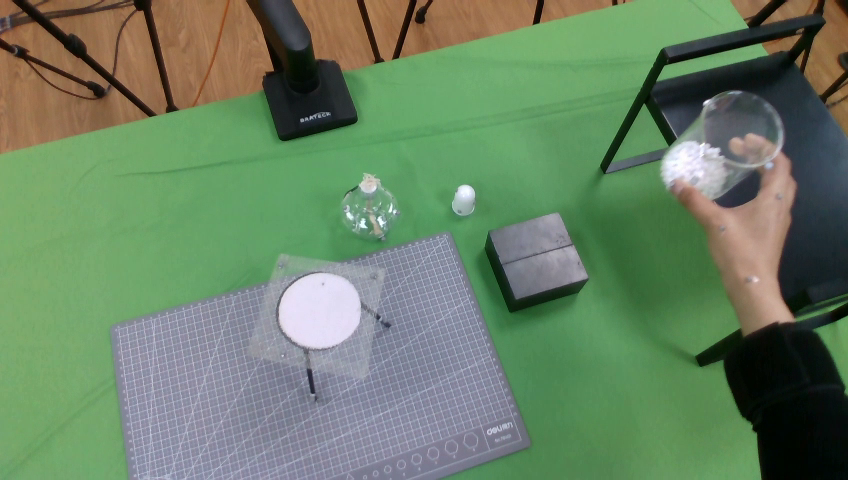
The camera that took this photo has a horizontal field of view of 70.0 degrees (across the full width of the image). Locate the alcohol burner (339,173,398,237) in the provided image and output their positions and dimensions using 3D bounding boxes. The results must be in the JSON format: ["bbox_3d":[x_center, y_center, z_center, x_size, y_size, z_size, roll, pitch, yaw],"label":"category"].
[{"bbox_3d":[-0.072,-0.053,0.786,0.078,0.120,0.077,2,65,-3],"label":"alcohol burner"}]

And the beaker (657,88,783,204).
[{"bbox_3d":[0.270,-0.081,0.571,0.084,0.101,0.073,-37,77,-13],"label":"beaker"}]

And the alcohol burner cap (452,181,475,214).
[{"bbox_3d":[0.056,-0.061,0.835,0.034,0.048,0.033,1,64,-1],"label":"alcohol burner cap"}]

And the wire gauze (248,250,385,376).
[{"bbox_3d":[-0.110,0.073,0.639,0.125,0.011,0.120,11,65,2],"label":"wire gauze"}]

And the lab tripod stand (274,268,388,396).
[{"bbox_3d":[-0.113,0.095,0.702,0.148,0.132,0.147,1,63,-2],"label":"lab tripod stand"}]
